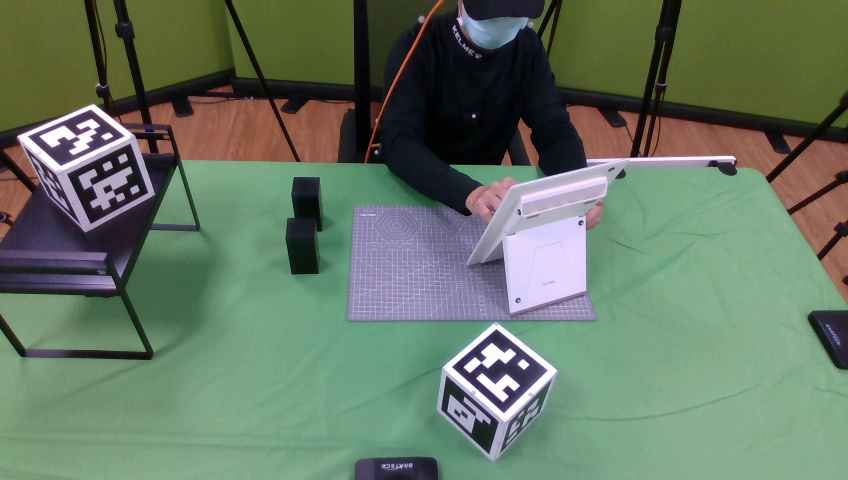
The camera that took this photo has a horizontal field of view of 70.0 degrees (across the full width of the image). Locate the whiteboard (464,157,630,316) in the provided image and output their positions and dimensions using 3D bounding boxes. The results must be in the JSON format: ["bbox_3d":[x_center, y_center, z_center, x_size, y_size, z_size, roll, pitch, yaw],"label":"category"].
[{"bbox_3d":[0.224,0.015,1.042,0.217,0.306,0.143,-13,68,-17],"label":"whiteboard"}]

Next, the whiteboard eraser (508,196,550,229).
[{"bbox_3d":[0.185,-0.049,1.071,0.041,0.101,0.018,-9,70,-29],"label":"whiteboard eraser"}]
